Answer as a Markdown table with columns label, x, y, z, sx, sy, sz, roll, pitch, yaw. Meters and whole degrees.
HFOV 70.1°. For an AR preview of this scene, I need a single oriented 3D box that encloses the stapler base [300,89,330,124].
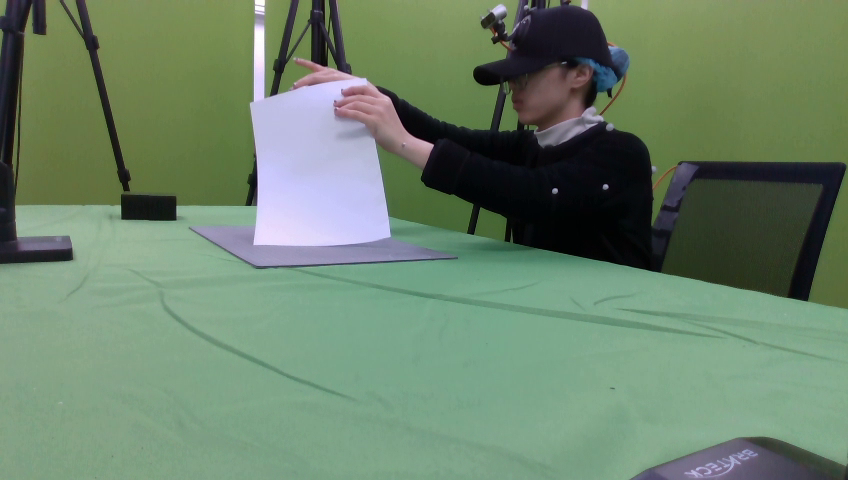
| label | x | y | z | sx | sy | sz | roll | pitch | yaw |
| --- | --- | --- | --- | --- | --- | --- | --- | --- | --- |
| stapler base | -0.215 | -0.265 | 1.171 | 0.041 | 0.024 | 0.130 | -16 | 31 | 13 |

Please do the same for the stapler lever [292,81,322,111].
| label | x | y | z | sx | sy | sz | roll | pitch | yaw |
| --- | --- | --- | --- | --- | --- | --- | --- | --- | --- |
| stapler lever | -0.225 | -0.284 | 1.160 | 0.027 | 0.040 | 0.118 | -16 | 32 | 13 |
